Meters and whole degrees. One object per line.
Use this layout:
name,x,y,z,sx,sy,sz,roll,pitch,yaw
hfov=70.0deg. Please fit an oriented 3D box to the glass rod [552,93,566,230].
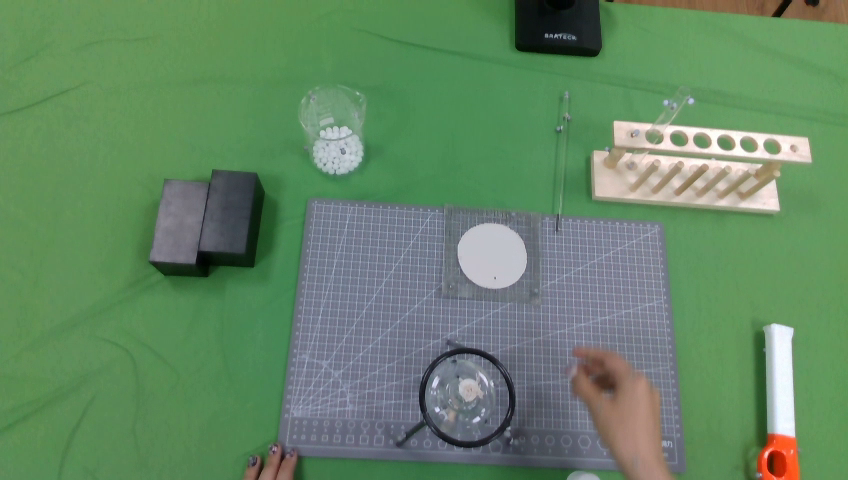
glass rod,0.177,-0.106,0.791,0.008,0.008,0.198,9,71,-2

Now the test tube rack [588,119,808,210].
test tube rack,0.339,-0.092,0.760,0.242,0.085,0.066,4,70,-3

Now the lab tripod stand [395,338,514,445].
lab tripod stand,0.033,0.159,0.617,0.148,0.132,0.147,1,69,-2

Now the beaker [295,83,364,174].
beaker,-0.108,-0.131,0.729,0.084,0.101,0.073,-34,76,-16

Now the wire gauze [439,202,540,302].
wire gauze,0.080,0.012,0.740,0.125,0.011,0.120,5,69,-2

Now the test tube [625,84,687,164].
test tube,0.271,-0.132,0.716,0.017,0.151,0.017,1,67,-3

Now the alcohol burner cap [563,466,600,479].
alcohol burner cap,0.171,0.258,0.647,0.034,0.048,0.033,1,69,-3

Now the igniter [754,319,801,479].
igniter,0.399,0.226,0.684,0.057,0.025,0.275,14,70,-10

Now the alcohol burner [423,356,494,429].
alcohol burner,0.038,0.156,0.630,0.078,0.119,0.077,2,69,-5
